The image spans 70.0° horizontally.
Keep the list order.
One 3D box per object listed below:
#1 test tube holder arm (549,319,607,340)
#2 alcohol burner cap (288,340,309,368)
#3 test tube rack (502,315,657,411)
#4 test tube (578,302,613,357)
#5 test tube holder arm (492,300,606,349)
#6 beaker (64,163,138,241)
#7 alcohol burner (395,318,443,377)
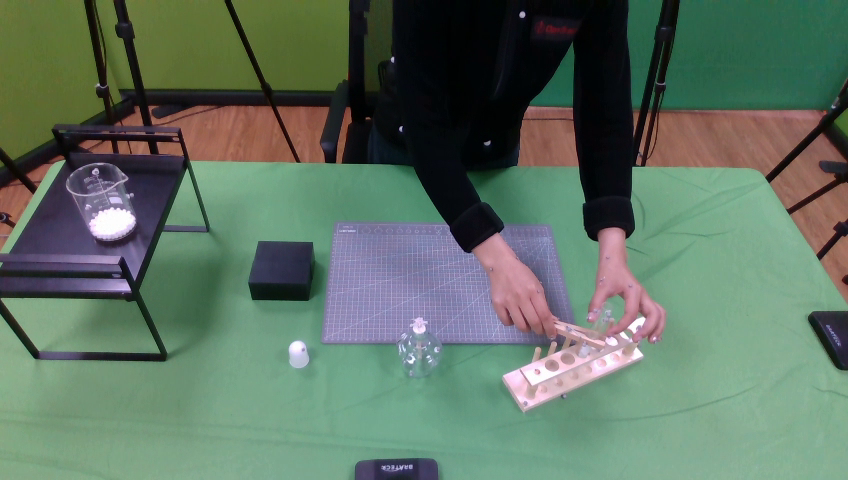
[{"bbox_3d":[0.233,0.136,0.921,0.088,0.015,0.010,12,47,8],"label":"test tube holder arm"},{"bbox_3d":[-0.206,0.183,0.991,0.034,0.048,0.033,3,47,-3],"label":"alcohol burner cap"},{"bbox_3d":[0.253,0.187,0.988,0.242,0.085,0.066,-18,50,-20],"label":"test tube rack"},{"bbox_3d":[0.253,0.141,0.908,0.017,0.151,0.017,3,48,-3],"label":"test tube"},{"bbox_3d":[0.189,0.128,0.927,0.178,0.015,0.013,19,48,15],"label":"test tube holder arm"},{"bbox_3d":[-0.477,-0.054,0.910,0.084,0.101,0.073,-9,48,-13],"label":"beaker"},{"bbox_3d":[-0.008,0.167,0.971,0.078,0.120,0.077,1,46,0],"label":"alcohol burner"}]
